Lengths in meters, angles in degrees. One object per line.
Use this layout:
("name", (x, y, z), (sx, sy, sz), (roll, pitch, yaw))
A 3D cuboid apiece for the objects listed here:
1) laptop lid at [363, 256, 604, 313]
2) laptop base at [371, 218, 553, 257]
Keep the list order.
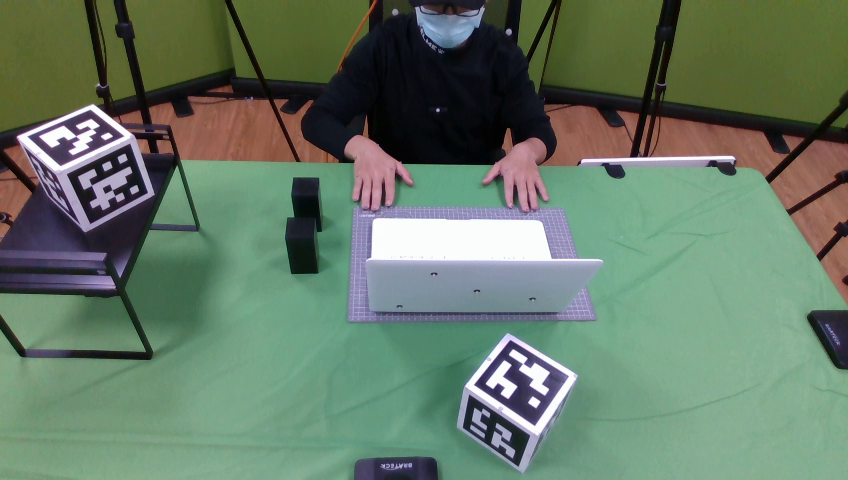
("laptop lid", (0.084, 0.076, 0.972), (0.357, 0.242, 0.013), (1, 64, -5))
("laptop base", (0.074, 0.044, 1.159), (0.354, 0.023, 0.234), (0, 43, -3))
